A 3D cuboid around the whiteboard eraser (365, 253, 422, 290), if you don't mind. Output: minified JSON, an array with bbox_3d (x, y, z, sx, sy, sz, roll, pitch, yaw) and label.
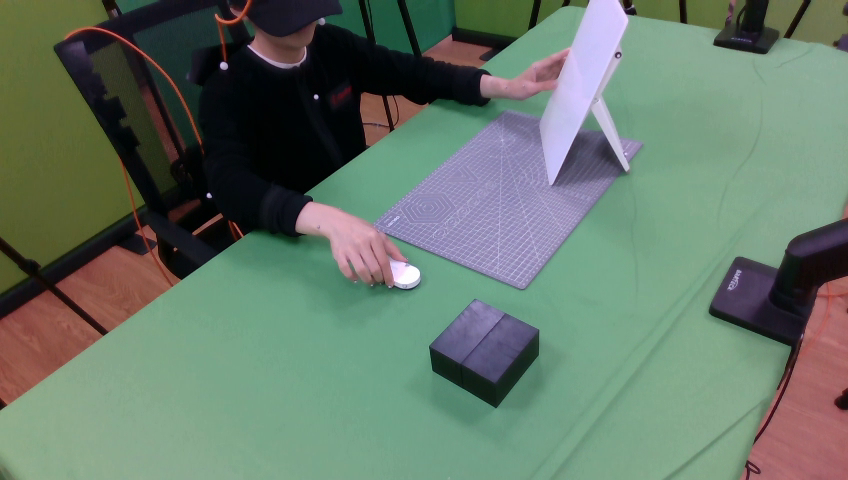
[{"bbox_3d":[-0.047,0.048,0.931,0.100,0.019,0.041,22,48,31],"label":"whiteboard eraser"}]

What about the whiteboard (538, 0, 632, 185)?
[{"bbox_3d":[0.327,-0.259,1.055,0.144,0.305,0.216,13,40,-6],"label":"whiteboard"}]
